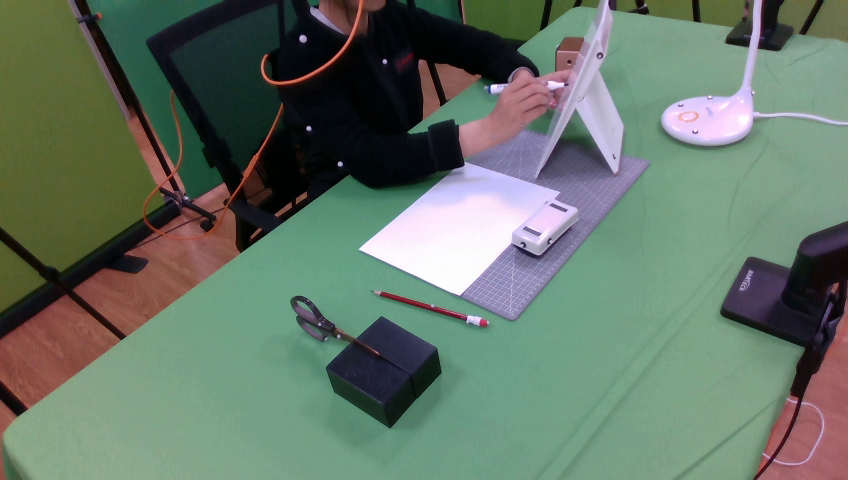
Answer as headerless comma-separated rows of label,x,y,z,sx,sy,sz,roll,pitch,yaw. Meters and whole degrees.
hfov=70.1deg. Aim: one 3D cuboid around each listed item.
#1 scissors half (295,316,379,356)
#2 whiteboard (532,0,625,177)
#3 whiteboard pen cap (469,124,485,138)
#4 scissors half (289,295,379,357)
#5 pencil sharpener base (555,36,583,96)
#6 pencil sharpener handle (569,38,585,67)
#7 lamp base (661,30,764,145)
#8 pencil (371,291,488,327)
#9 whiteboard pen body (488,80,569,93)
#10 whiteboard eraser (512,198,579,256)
scissors half,-0.119,0.131,0.813,0.174,0.040,0.013,9,34,45
whiteboard,0.320,-0.258,1.050,0.144,0.306,0.217,21,45,5
whiteboard pen cap,0.107,-0.220,1.224,0.033,0.018,0.018,-37,48,-23
scissors half,-0.122,0.114,0.803,0.174,0.040,0.013,26,50,32
pencil sharpener base,0.318,-0.371,1.290,0.061,0.107,0.076,10,44,22
pencil sharpener handle,0.333,-0.413,1.318,0.036,0.068,0.030,19,47,13
lamp base,0.535,-0.287,1.096,0.179,0.181,0.159,-10,40,-4
pencil,0.003,0.097,0.877,0.193,0.012,0.012,13,45,26
whiteboard pen body,0.179,-0.266,1.043,0.140,0.017,0.017,2,41,21
whiteboard eraser,0.191,-0.019,0.949,0.055,0.042,0.113,26,51,36
